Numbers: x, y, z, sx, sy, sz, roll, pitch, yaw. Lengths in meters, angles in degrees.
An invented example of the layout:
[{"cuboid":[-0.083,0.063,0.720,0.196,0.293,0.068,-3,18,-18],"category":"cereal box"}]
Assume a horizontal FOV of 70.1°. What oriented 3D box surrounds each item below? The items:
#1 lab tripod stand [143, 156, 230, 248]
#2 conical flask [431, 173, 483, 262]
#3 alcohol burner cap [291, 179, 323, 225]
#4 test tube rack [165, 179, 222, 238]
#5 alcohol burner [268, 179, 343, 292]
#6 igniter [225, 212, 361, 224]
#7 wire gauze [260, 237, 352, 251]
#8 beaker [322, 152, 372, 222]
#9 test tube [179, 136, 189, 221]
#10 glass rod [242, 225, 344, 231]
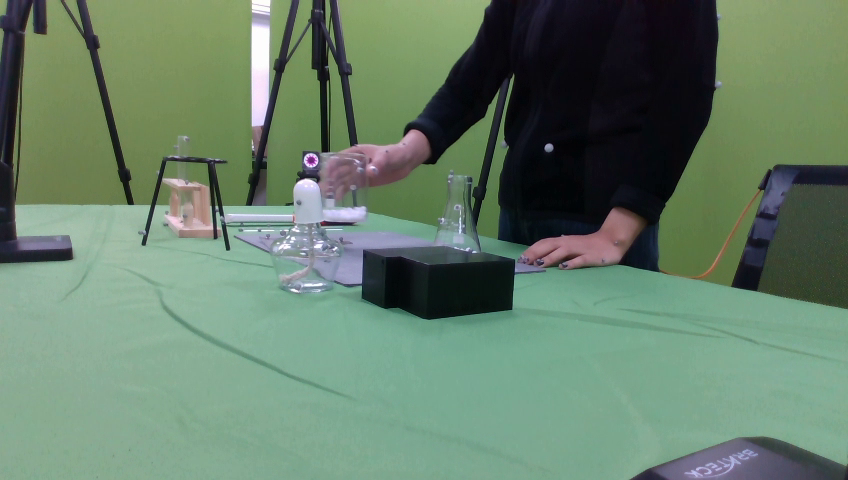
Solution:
[{"cuboid":[-0.338,-0.058,0.908,0.148,0.131,0.148,4,7,0],"category":"lab tripod stand"},{"cuboid":[0.049,-0.033,0.857,0.075,0.122,0.075,2,7,0],"category":"conical flask"},{"cuboid":[-0.124,-0.040,0.632,0.034,0.048,0.034,-3,10,1],"category":"alcohol burner cap"},{"cuboid":[-0.423,-0.062,1.098,0.067,0.085,0.241,-2,9,-28],"category":"test tube rack"},{"cuboid":[-0.124,-0.005,0.637,0.078,0.119,0.078,4,8,0],"category":"alcohol burner"},{"cuboid":[-0.262,-0.044,1.240,0.278,0.025,0.057,-2,-1,-31],"category":"igniter"},{"cuboid":[-0.185,0.004,0.938,0.122,0.011,0.124,-1,5,-24],"category":"wire gauze"},{"cuboid":[-0.113,-0.078,0.902,0.073,0.100,0.084,4,4,27],"category":"beaker"},{"cuboid":[-0.425,-0.108,1.070,0.017,0.150,0.017,4,9,0],"category":"test tube"},{"cuboid":[-0.246,-0.024,1.154,0.201,0.008,0.008,-3,8,-31],"category":"glass rod"}]
